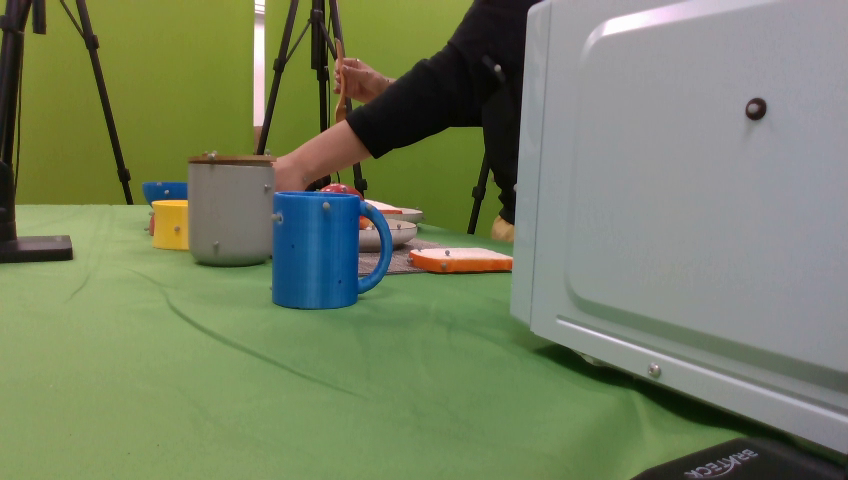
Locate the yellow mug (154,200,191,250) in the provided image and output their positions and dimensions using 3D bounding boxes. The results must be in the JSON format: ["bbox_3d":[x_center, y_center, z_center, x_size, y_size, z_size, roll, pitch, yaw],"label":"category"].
[{"bbox_3d":[-0.337,-0.022,0.899,0.130,0.064,0.100,8,9,34],"label":"yellow mug"}]

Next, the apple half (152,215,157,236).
[{"bbox_3d":[-0.415,-0.034,1.017,0.081,0.053,0.074,1,10,-9],"label":"apple half"}]

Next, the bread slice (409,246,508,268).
[{"bbox_3d":[0.048,0.021,0.816,0.132,0.019,0.104,0,6,-24],"label":"bread slice"}]

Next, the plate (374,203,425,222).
[{"bbox_3d":[-0.102,-0.053,1.299,0.209,0.038,0.209,2,8,0],"label":"plate"}]

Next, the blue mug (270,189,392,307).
[{"bbox_3d":[-0.090,0.005,0.588,0.117,0.106,0.082,1,7,-10],"label":"blue mug"}]

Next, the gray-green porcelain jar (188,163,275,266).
[{"bbox_3d":[-0.246,-0.034,0.780,0.106,0.126,0.106,1,8,0],"label":"gray-green porcelain jar"}]

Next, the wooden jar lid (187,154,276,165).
[{"bbox_3d":[-0.244,-0.097,0.771,0.108,0.020,0.108,-1,7,0],"label":"wooden jar lid"}]

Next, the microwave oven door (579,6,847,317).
[{"bbox_3d":[0.294,-0.067,0.570,0.358,0.243,0.039,-3,9,-31],"label":"microwave oven door"}]

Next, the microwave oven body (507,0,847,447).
[{"bbox_3d":[0.331,-0.042,0.425,0.444,0.260,0.324,-2,8,-31],"label":"microwave oven body"}]

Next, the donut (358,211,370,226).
[{"bbox_3d":[-0.132,-0.041,0.959,0.099,0.048,0.099,2,8,0],"label":"donut"}]

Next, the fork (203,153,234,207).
[{"bbox_3d":[-0.480,-0.135,1.411,0.028,0.018,0.207,1,-34,0],"label":"fork"}]

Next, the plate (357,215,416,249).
[{"bbox_3d":[-0.116,-0.014,0.967,0.208,0.039,0.207,2,7,0],"label":"plate"}]

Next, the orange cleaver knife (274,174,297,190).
[{"bbox_3d":[-0.283,-0.087,1.343,0.212,0.077,0.012,24,-16,-41],"label":"orange cleaver knife"}]

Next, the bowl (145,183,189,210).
[{"bbox_3d":[-0.459,-0.068,1.175,0.151,0.077,0.151,3,7,0],"label":"bowl"}]

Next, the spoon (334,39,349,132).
[{"bbox_3d":[-0.167,-0.313,1.222,0.021,0.193,0.042,-4,-5,31],"label":"spoon"}]

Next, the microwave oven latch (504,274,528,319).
[{"bbox_3d":[0.100,0.041,0.471,0.079,0.029,0.030,-1,7,-28],"label":"microwave oven latch"}]

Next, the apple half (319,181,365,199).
[{"bbox_3d":[-0.130,-0.077,0.952,0.081,0.033,0.081,4,14,-1],"label":"apple half"}]

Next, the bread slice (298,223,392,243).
[{"bbox_3d":[-0.120,-0.013,0.970,0.106,0.018,0.135,9,11,41],"label":"bread slice"}]
